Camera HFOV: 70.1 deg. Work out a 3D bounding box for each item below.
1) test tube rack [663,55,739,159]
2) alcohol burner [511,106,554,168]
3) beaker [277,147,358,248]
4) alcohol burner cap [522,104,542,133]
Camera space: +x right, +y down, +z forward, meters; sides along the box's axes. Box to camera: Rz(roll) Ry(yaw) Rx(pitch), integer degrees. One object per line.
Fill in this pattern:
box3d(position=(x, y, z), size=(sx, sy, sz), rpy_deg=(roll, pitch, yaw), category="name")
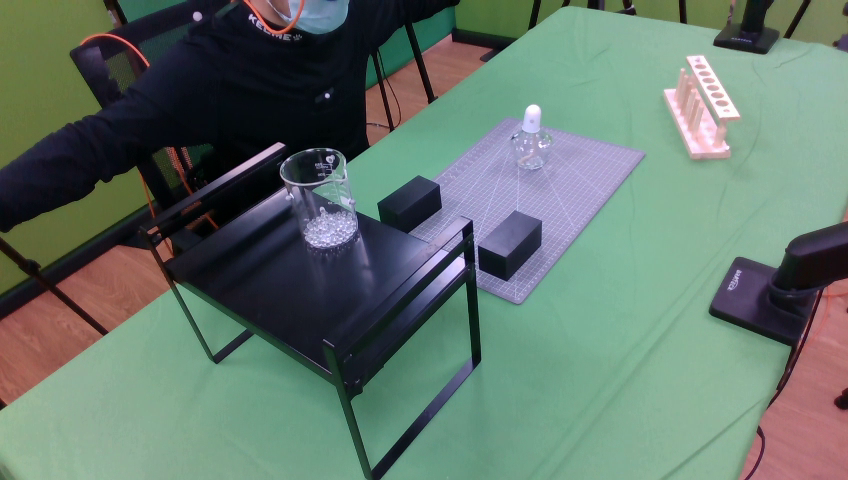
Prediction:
box3d(position=(0.518, -0.256, 1.144), size=(0.066, 0.085, 0.241), rpy_deg=(-1, 41, 8), category="test tube rack")
box3d(position=(0.195, -0.190, 1.088), size=(0.078, 0.119, 0.077), rpy_deg=(-3, 42, 3), category="alcohol burner")
box3d(position=(-0.117, -0.046, 0.705), size=(0.083, 0.101, 0.074), rpy_deg=(17, 47, 25), category="beaker")
box3d(position=(0.191, -0.217, 1.065), size=(0.034, 0.048, 0.033), rpy_deg=(0, 40, 0), category="alcohol burner cap")
